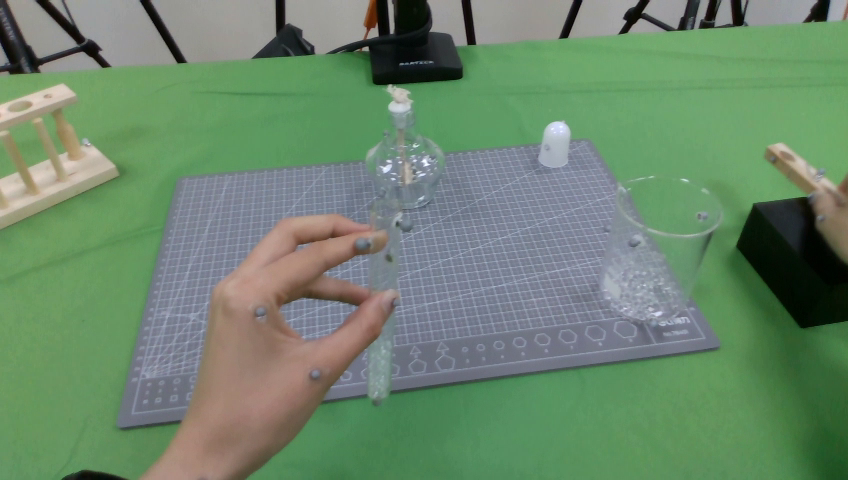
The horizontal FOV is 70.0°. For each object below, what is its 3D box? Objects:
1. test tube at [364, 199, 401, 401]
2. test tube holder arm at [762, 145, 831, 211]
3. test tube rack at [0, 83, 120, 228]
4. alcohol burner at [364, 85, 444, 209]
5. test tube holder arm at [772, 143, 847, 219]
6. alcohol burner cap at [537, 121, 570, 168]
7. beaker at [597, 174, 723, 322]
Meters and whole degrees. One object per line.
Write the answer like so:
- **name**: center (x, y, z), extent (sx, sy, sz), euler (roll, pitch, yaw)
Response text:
- **test tube**: center (-0.024, 0.041, 0.334), extent (0.017, 0.151, 0.017), euler (4, 40, -3)
- **test tube holder arm**: center (0.330, -0.056, 0.535), extent (0.010, 0.015, 0.087), euler (-19, 42, 0)
- **test tube rack**: center (-0.432, -0.057, 0.570), extent (0.066, 0.086, 0.242), euler (34, 53, 32)
- **alcohol burner**: center (-0.020, -0.090, 0.575), extent (0.078, 0.120, 0.077), euler (-2, 41, 2)
- **test tube holder arm**: center (0.346, -0.030, 0.502), extent (0.013, 0.015, 0.176), euler (-20, 42, -1)
- **alcohol burner cap**: center (0.138, -0.104, 0.642), extent (0.034, 0.048, 0.033), euler (0, 42, 1)
- **beaker**: center (0.177, 0.008, 0.476), extent (0.074, 0.101, 0.083), euler (-27, 48, -26)
